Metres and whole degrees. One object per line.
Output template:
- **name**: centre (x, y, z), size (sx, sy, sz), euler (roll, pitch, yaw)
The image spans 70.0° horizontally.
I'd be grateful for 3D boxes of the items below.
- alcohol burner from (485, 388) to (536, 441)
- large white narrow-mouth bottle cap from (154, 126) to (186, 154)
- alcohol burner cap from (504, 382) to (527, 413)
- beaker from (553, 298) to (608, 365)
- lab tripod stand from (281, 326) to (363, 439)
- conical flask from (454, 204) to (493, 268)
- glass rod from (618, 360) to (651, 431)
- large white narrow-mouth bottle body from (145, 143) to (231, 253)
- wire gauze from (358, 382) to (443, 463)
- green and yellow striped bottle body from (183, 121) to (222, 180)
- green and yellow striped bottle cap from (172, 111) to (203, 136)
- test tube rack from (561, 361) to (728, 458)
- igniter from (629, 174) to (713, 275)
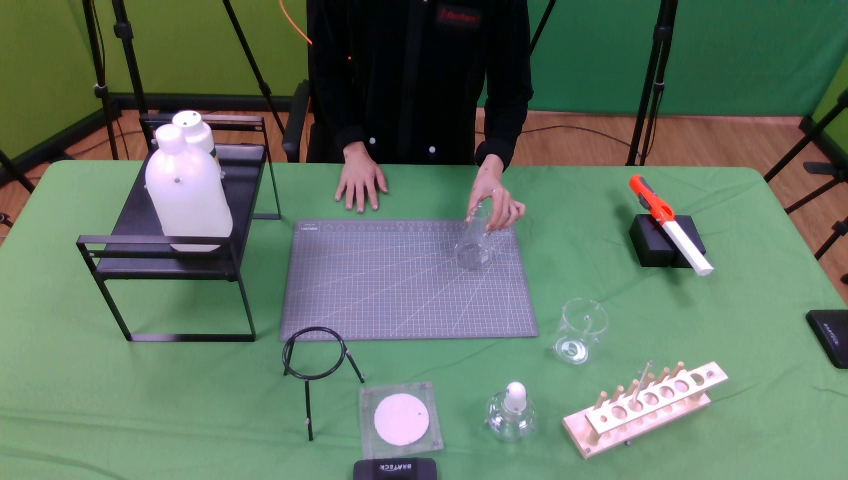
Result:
- **alcohol burner**: centre (0.131, 0.249, 0.904), size (0.078, 0.120, 0.077), euler (1, 48, -1)
- **large white narrow-mouth bottle cap**: centre (-0.340, -0.135, 0.812), size (0.038, 0.024, 0.037), euler (2, 48, -2)
- **alcohol burner cap**: centre (0.133, 0.225, 0.877), size (0.034, 0.048, 0.033), euler (-4, 47, 5)
- **beaker**: centre (0.260, 0.154, 1.015), size (0.073, 0.101, 0.084), euler (37, 54, 27)
- **lab tripod stand**: centre (-0.166, 0.202, 0.913), size (0.148, 0.132, 0.147), euler (1, 47, -1)
- **conical flask**: centre (0.098, -0.010, 1.141), size (0.075, 0.122, 0.075), euler (2, 46, -2)
- **glass rod**: centre (0.298, 0.227, 0.865), size (0.008, 0.201, 0.008), euler (-1, 48, 2)
- **large white narrow-mouth bottle body**: centre (-0.345, -0.077, 0.877), size (0.102, 0.195, 0.101), euler (2, 48, -2)
- **wire gauze**: centre (-0.039, 0.277, 0.937), size (0.121, 0.011, 0.124), euler (-4, 47, -7)
- **green and yellow striped bottle body**: centre (-0.375, -0.149, 0.995), size (0.063, 0.120, 0.063), euler (2, 46, -2)
- **green and yellow striped bottle cap**: centre (-0.374, -0.185, 0.958), size (0.045, 0.020, 0.045), euler (4, 46, -3)
- **test tube rack**: centre (0.341, 0.248, 0.940), size (0.243, 0.085, 0.066), euler (-15, 49, -18)
- **igniter**: centre (0.481, -0.040, 1.202), size (0.057, 0.025, 0.274), euler (-2, 46, -21)
